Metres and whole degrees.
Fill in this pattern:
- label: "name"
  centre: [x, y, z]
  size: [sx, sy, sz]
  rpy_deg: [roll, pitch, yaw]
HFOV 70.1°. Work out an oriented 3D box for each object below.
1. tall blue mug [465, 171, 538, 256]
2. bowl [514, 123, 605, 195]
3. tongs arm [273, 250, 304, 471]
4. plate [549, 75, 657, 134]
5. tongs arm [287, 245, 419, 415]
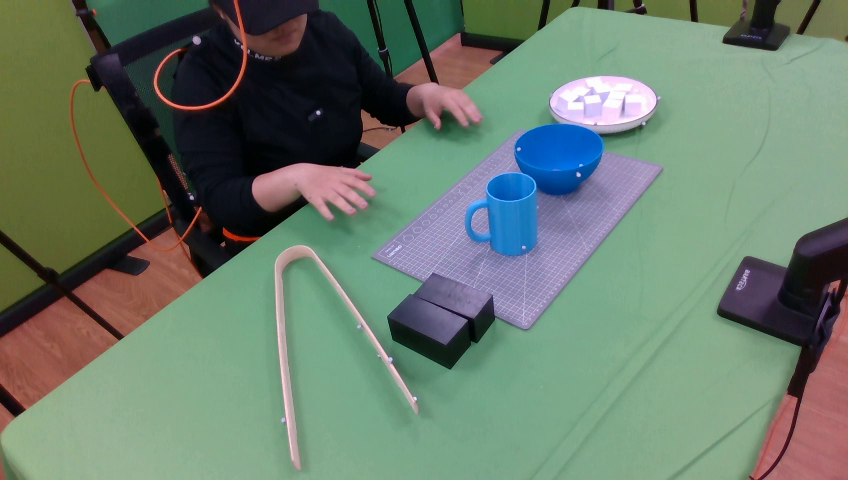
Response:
- label: "tall blue mug"
  centre: [0.125, -0.033, 0.925]
  size: [0.107, 0.108, 0.077]
  rpy_deg: [-32, 46, -25]
- label: "bowl"
  centre: [0.232, -0.131, 1.045]
  size: [0.151, 0.077, 0.150]
  rpy_deg: [-5, 40, 5]
- label: "tongs arm"
  centre: [-0.188, 0.145, 0.844]
  size: [0.028, 0.028, 0.384]
  rpy_deg: [-22, 41, 0]
- label: "plate"
  centre: [0.357, -0.269, 1.220]
  size: [0.209, 0.038, 0.208]
  rpy_deg: [-5, 41, 5]
- label: "tongs arm"
  centre: [-0.114, 0.113, 0.859]
  size: [0.051, 0.027, 0.381]
  rpy_deg: [-28, 43, -12]
